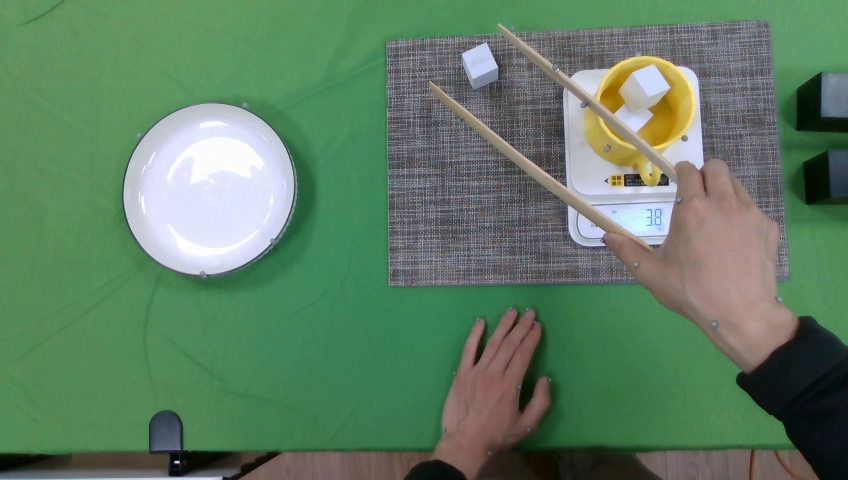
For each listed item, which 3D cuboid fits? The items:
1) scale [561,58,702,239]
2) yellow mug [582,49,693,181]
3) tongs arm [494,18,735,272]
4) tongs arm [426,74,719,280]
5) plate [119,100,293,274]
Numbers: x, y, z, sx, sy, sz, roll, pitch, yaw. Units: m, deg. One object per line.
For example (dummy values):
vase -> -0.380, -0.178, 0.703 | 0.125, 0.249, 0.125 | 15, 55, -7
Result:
scale -> 0.234, -0.104, 0.686 | 0.148, 0.031, 0.200 | -2, 85, 5
yellow mug -> 0.226, -0.127, 0.641 | 0.100, 0.064, 0.130 | -12, 85, 3
tongs arm -> 0.157, -0.114, 0.582 | 0.051, 0.027, 0.380 | -38, 52, 2
tongs arm -> 0.113, -0.078, 0.585 | 0.028, 0.028, 0.383 | -40, 51, -5
plate -> -0.255, -0.061, 0.724 | 0.207, 0.039, 0.207 | 0, 84, 4
